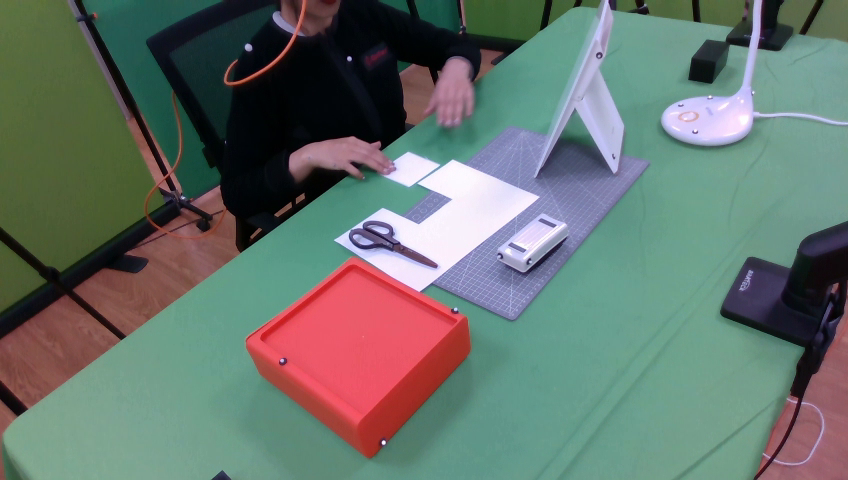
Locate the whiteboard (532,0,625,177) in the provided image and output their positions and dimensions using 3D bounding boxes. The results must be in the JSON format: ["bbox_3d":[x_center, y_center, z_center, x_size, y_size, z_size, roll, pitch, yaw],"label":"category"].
[{"bbox_3d":[0.320,-0.259,1.050,0.144,0.306,0.217,21,45,5],"label":"whiteboard"}]

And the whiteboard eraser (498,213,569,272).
[{"bbox_3d":[0.168,0.006,0.923,0.113,0.042,0.055,-36,48,-28],"label":"whiteboard eraser"}]

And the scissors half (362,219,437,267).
[{"bbox_3d":[-0.039,0.005,0.987,0.040,0.013,0.173,-28,44,-32],"label":"scissors half"}]

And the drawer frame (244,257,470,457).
[{"bbox_3d":[-0.084,0.138,0.788,0.212,0.083,0.202,25,50,33],"label":"drawer frame"}]

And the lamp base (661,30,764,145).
[{"bbox_3d":[0.535,-0.287,1.096,0.179,0.181,0.159,-10,40,-4],"label":"lamp base"}]

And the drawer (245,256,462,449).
[{"bbox_3d":[-0.089,0.136,0.792,0.210,0.073,0.195,26,51,34],"label":"drawer"}]

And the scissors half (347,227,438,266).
[{"bbox_3d":[-0.053,0.015,0.975,0.174,0.013,0.040,17,45,24],"label":"scissors half"}]

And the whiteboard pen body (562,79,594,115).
[{"bbox_3d":[0.328,-0.306,1.277,0.017,0.017,0.141,20,52,30],"label":"whiteboard pen body"}]

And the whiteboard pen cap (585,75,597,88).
[{"bbox_3d":[0.362,-0.343,1.310,0.018,0.018,0.033,20,54,29],"label":"whiteboard pen cap"}]
